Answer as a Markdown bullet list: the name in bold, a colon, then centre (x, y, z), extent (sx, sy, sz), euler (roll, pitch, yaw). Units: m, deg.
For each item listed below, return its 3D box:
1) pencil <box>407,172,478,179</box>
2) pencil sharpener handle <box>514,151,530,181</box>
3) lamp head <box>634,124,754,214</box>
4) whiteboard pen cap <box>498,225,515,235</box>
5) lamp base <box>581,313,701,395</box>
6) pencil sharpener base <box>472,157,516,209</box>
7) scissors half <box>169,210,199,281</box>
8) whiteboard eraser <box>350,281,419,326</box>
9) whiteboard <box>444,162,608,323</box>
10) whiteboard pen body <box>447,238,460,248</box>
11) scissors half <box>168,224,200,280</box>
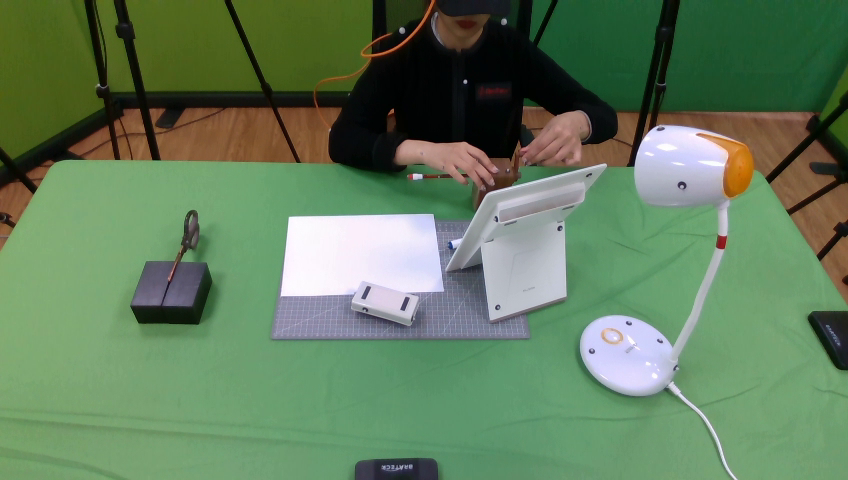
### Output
- **pencil**: centre (0.063, -0.133, 1.233), extent (0.194, 0.012, 0.012), euler (-2, 46, -5)
- **pencil sharpener handle**: centre (0.197, -0.150, 1.237), extent (0.031, 0.068, 0.036), euler (-2, 29, -6)
- **lamp head**: centre (0.351, -0.089, 0.776), extent (0.112, 0.113, 0.122), euler (-30, 30, -28)
- **whiteboard pen cap**: centre (0.166, -0.019, 1.222), extent (0.033, 0.018, 0.018), euler (-14, 49, -18)
- **lamp base**: centre (0.361, 0.144, 0.972), extent (0.178, 0.181, 0.160), euler (34, 53, 23)
- **pencil sharpener base**: centre (0.144, -0.115, 1.259), extent (0.077, 0.107, 0.061), euler (-2, 46, -6)
- **scissors half**: centre (-0.438, 0.007, 1.098), extent (0.013, 0.040, 0.174), euler (3, 47, -3)
- **whiteboard eraser**: centre (-0.069, 0.113, 1.065), extent (0.112, 0.042, 0.055), euler (14, 46, 9)
- **whiteboard**: centre (0.186, 0.025, 1.029), extent (0.217, 0.306, 0.143), euler (-14, 68, -18)
- **whiteboard pen body**: centre (0.112, -0.005, 1.204), extent (0.141, 0.017, 0.017), euler (-14, 49, -18)
- **scissors half**: centre (-0.440, 0.023, 1.111), extent (0.013, 0.040, 0.174), euler (7, 29, -6)
